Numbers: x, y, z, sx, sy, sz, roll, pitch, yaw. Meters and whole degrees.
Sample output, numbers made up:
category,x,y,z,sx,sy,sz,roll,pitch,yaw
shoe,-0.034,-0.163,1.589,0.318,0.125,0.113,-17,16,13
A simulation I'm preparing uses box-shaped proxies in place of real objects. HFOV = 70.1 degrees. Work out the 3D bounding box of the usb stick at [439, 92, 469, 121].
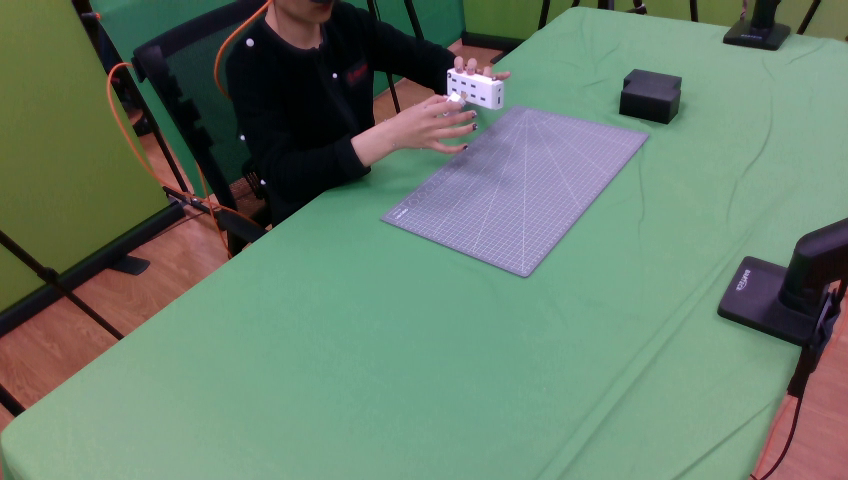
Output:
category,x,y,z,sx,sy,sz,roll,pitch,yaw
usb stick,0.056,-0.246,1.090,0.059,0.027,0.021,-49,56,-1

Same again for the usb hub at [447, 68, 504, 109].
category,x,y,z,sx,sy,sz,roll,pitch,yaw
usb hub,0.094,-0.281,1.117,0.025,0.049,0.124,-28,41,-34
